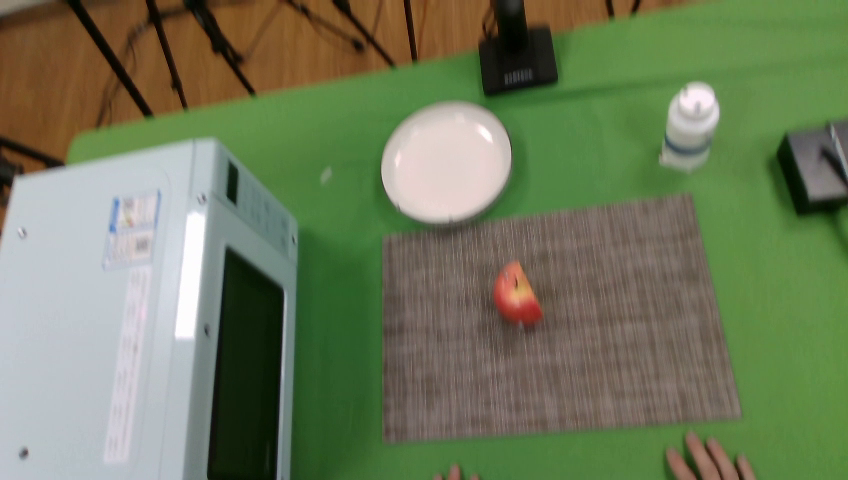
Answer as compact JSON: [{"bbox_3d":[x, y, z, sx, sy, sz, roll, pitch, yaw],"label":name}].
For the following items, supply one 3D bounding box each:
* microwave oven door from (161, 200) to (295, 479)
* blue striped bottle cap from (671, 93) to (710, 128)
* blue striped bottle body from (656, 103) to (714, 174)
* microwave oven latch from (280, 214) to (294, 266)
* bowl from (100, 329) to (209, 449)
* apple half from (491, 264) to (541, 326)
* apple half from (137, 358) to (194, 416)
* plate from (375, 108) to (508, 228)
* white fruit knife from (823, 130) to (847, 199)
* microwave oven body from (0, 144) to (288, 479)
[{"bbox_3d":[-0.230,0.158,0.755,0.039,0.246,0.353,-10,64,11],"label":"microwave oven door"},{"bbox_3d":[0.343,-0.167,0.779,0.044,0.021,0.044,-5,68,13],"label":"blue striped bottle cap"},{"bbox_3d":[0.355,-0.145,0.824,0.063,0.122,0.062,-6,65,13],"label":"blue striped bottle body"},{"bbox_3d":[-0.217,0.002,0.936,0.030,0.030,0.078,-9,65,10],"label":"microwave oven latch"},{"bbox_3d":[-0.347,0.200,0.816,0.151,0.077,0.150,-5,75,18],"label":"bowl"},{"bbox_3d":[0.118,0.080,0.810,0.053,0.075,0.080,-27,66,6],"label":"apple half"},{"bbox_3d":[-0.349,0.196,0.807,0.081,0.033,0.081,-1,79,7],"label":"apple half"},{"bbox_3d":[0.029,-0.108,0.942,0.207,0.039,0.206,-5,66,12],"label":"plate"},{"bbox_3d":[0.532,-0.041,0.750,0.016,0.027,0.206,-20,79,25],"label":"white fruit knife"},{"bbox_3d":[-0.373,0.146,0.804,0.325,0.262,0.438,-9,65,10],"label":"microwave oven body"}]
